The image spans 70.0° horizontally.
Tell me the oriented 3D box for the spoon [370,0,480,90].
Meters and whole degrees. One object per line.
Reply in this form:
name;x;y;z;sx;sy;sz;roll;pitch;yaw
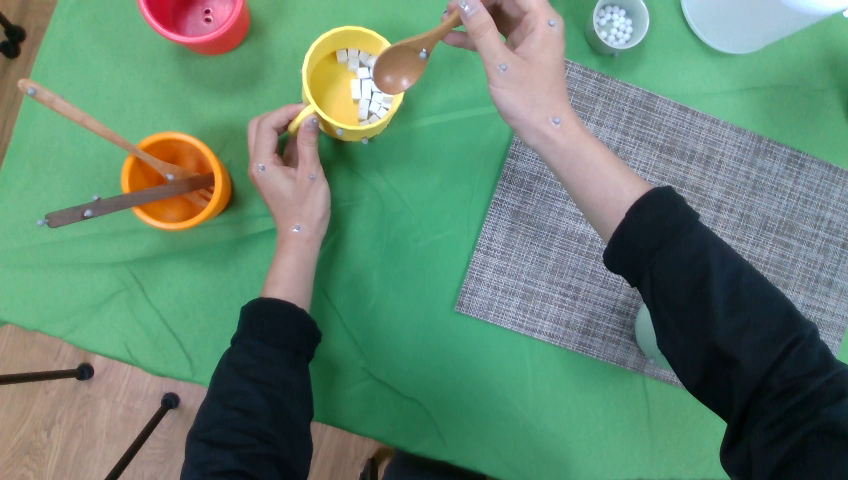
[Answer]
spoon;0.021;-0.178;0.479;0.042;0.193;0.021;27;54;-30

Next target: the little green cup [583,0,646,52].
little green cup;0.203;-0.234;0.655;0.061;0.038;0.061;0;93;-4

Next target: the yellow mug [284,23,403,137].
yellow mug;-0.086;-0.149;0.610;0.131;0.064;0.100;-38;97;-8

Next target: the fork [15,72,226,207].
fork;-0.269;-0.087;0.560;0.028;0.018;0.209;-55;139;-4

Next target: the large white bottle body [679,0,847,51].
large white bottle body;0.353;-0.274;0.594;0.131;0.184;0.130;0;92;-5

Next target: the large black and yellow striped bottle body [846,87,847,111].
large black and yellow striped bottle body;0.559;-0.162;0.621;0.131;0.183;0.131;0;92;-5

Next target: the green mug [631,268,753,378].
green mug;0.291;0.082;0.643;0.093;0.105;0.125;36;89;-5

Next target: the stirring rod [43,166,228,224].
stirring rod;-0.262;-0.045;0.568;0.176;0.006;0.014;-25;97;-46
